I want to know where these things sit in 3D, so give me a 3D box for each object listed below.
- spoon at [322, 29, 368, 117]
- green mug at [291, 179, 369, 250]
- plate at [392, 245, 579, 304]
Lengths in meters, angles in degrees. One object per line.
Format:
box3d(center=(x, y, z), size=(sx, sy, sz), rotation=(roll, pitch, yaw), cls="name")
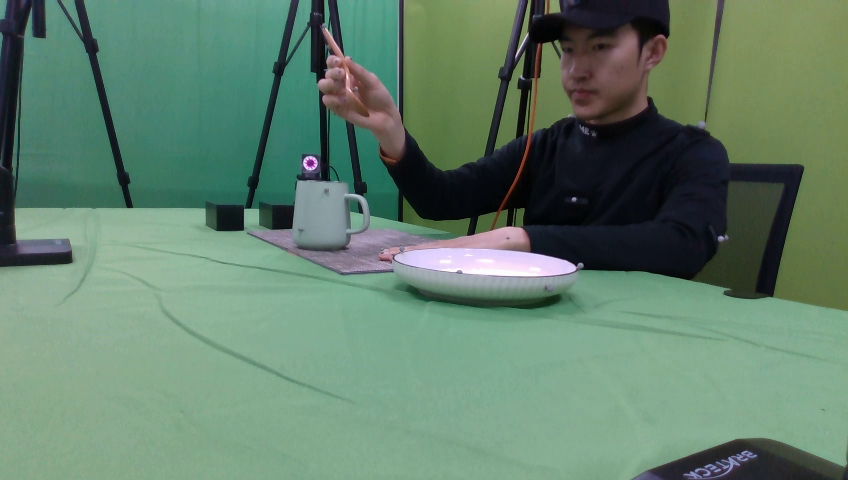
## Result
box3d(center=(-0.119, -0.252, 0.897), size=(0.021, 0.193, 0.042), rotation=(-23, -31, 3), cls="spoon")
box3d(center=(-0.144, -0.040, 0.944), size=(0.125, 0.105, 0.093), rotation=(4, 7, 16), cls="green mug")
box3d(center=(0.066, 0.038, 0.683), size=(0.209, 0.038, 0.209), rotation=(2, 7, 0), cls="plate")
